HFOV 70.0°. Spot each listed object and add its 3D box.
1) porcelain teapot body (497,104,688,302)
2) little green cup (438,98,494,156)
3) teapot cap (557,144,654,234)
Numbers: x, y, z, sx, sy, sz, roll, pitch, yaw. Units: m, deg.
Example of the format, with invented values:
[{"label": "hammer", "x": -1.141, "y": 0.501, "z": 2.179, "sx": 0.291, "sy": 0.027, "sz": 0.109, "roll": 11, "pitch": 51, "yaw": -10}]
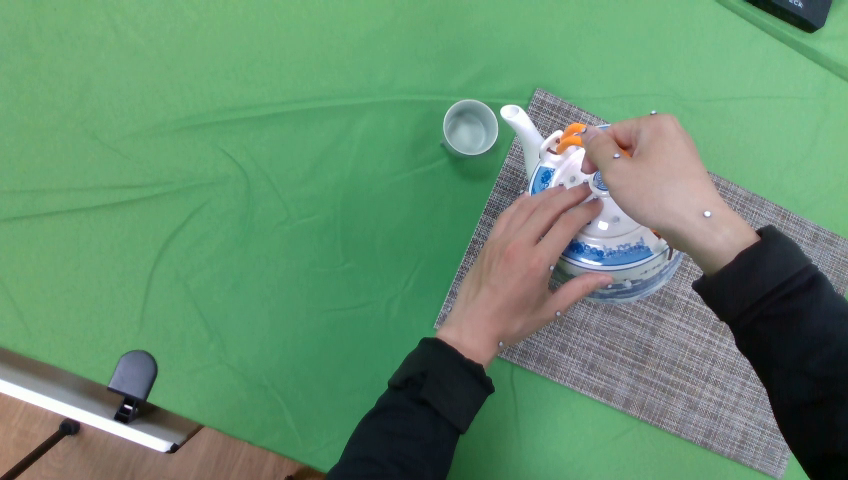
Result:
[{"label": "porcelain teapot body", "x": 0.148, "y": -0.051, "z": 0.578, "sx": 0.145, "sy": 0.227, "sz": 0.203, "roll": -47, "pitch": 64, "yaw": -1}, {"label": "little green cup", "x": 0.044, "y": -0.122, "z": 0.671, "sx": 0.062, "sy": 0.038, "sz": 0.061, "roll": 1, "pitch": 85, "yaw": -8}, {"label": "teapot cap", "x": 0.157, "y": -0.047, "z": 0.530, "sx": 0.085, "sy": 0.044, "sz": 0.084, "roll": -6, "pitch": 69, "yaw": 16}]
